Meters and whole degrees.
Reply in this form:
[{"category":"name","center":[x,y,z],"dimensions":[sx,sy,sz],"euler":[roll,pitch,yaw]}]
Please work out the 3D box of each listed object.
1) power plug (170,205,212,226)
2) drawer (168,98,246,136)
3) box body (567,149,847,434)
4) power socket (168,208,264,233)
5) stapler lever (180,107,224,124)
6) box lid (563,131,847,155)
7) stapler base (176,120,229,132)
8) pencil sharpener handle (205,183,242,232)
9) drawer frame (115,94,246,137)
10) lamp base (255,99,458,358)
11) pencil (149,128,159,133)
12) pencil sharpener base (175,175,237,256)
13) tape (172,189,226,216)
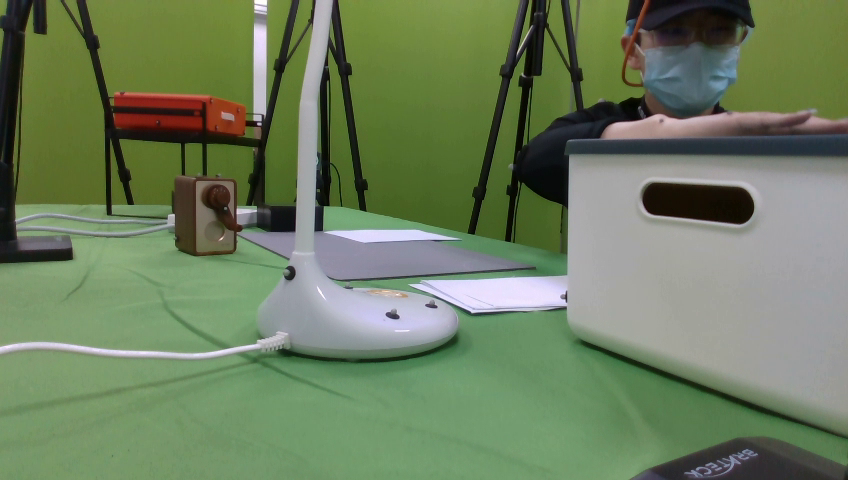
[{"category":"power plug","center":[-0.455,-0.041,1.196],"dimensions":[0.052,0.035,0.072],"euler":[1,42,24]},{"category":"drawer","center":[-0.539,-0.279,1.374],"dimensions":[0.212,0.073,0.194],"euler":[2,8,5]},{"category":"box body","center":[0.318,0.009,0.471],"dimensions":[0.366,0.160,0.253],"euler":[-2,8,-31]},{"category":"power socket","center":[-0.381,-0.038,1.129],"dimensions":[0.072,0.032,0.227],"euler":[4,8,17]},{"category":"stapler lever","center":[-0.496,-0.281,1.358],"dimensions":[0.027,0.040,0.118],"euler":[2,7,22]},{"category":"box lid","center":[0.322,-0.064,0.463],"dimensions":[0.373,0.015,0.262],"euler":[-2,9,-31]},{"category":"stapler base","center":[-0.496,-0.257,1.363],"dimensions":[0.041,0.024,0.131],"euler":[2,9,22]},{"category":"pencil sharpener handle","center":[-0.265,-0.043,0.812],"dimensions":[0.036,0.068,0.030],"euler":[-31,27,-35]},{"category":"drawer frame","center":[-0.543,-0.281,1.374],"dimensions":[0.213,0.082,0.201],"euler":[2,8,4]},{"category":"lamp base","center":[-0.056,-0.013,0.462],"dimensions":[0.160,0.180,0.180],"euler":[6,11,27]},{"category":"pencil","center":[-0.528,-0.258,1.360],"dimensions":[0.012,0.012,0.195],"euler":[8,20,35]},{"category":"pencil sharpener base","center":[-0.304,-0.036,0.847],"dimensions":[0.062,0.107,0.076],"euler":[-4,10,-42]},{"category":"tape","center":[-0.515,-0.087,1.388],"dimensions":[0.117,0.052,0.117],"euler":[3,8,0]}]
